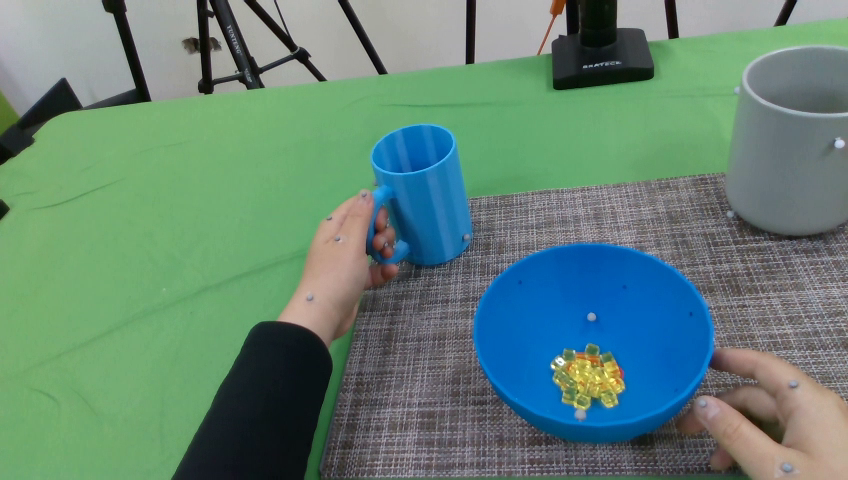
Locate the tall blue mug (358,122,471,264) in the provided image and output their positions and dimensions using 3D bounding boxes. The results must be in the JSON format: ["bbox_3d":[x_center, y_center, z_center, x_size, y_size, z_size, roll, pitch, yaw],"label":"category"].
[{"bbox_3d":[-0.006,-0.031,0.547,0.077,0.109,0.106,3,45,18],"label":"tall blue mug"}]

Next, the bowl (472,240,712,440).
[{"bbox_3d":[0.112,0.079,0.416,0.151,0.077,0.150,-8,42,8],"label":"bowl"}]

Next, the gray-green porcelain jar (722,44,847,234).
[{"bbox_3d":[0.305,-0.076,0.493,0.106,0.128,0.105,-8,43,8],"label":"gray-green porcelain jar"}]
